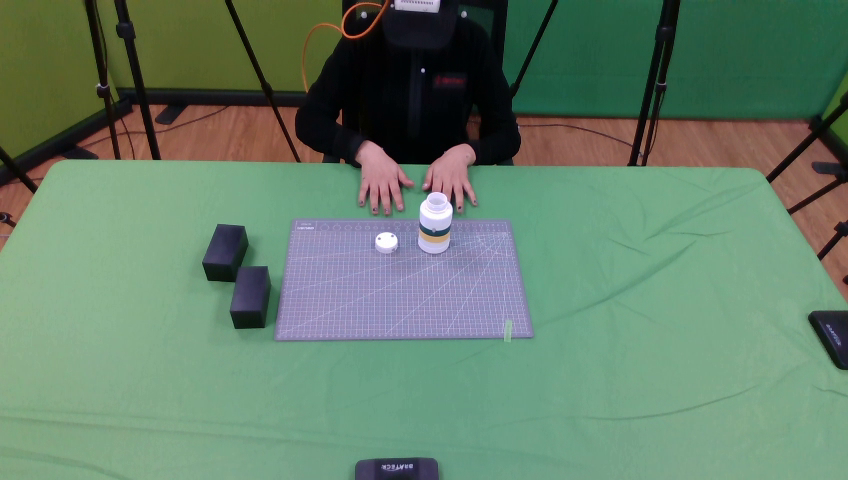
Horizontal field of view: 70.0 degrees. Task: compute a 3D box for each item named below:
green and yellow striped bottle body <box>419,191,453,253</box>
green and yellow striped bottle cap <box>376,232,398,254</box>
[{"bbox_3d":[0.023,-0.036,1.160,0.063,0.120,0.063,2,46,-2],"label":"green and yellow striped bottle body"},{"bbox_3d":[-0.073,0.006,1.187,0.045,0.020,0.045,2,44,-2],"label":"green and yellow striped bottle cap"}]
